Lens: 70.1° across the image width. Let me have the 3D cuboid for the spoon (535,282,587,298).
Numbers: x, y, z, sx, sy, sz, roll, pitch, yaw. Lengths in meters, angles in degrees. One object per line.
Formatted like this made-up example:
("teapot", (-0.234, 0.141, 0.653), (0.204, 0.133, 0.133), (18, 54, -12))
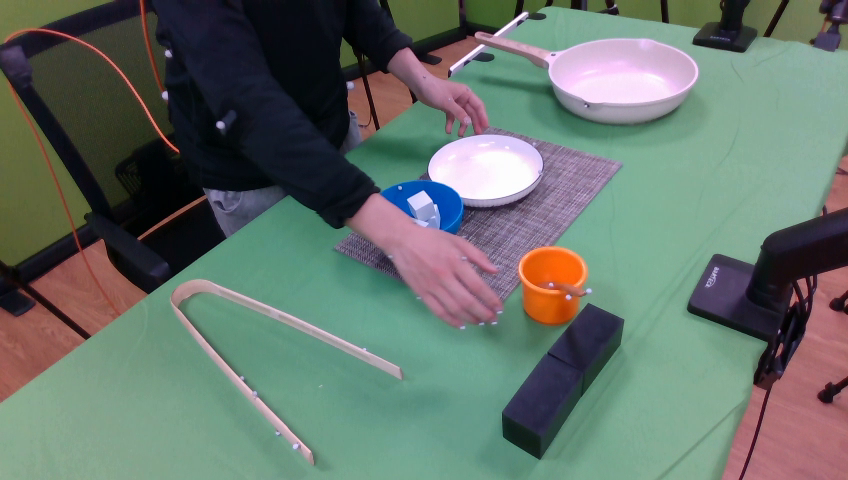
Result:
("spoon", (0.176, 0.063, 0.774), (0.041, 0.194, 0.021), (-3, 85, 0))

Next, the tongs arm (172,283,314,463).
("tongs arm", (-0.246, 0.161, 0.806), (0.381, 0.026, 0.051), (29, 51, 36))

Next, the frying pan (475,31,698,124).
("frying pan", (0.320, -0.371, 1.290), (0.485, 0.103, 0.307), (28, 50, 23))

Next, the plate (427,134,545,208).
("plate", (0.110, -0.119, 1.073), (0.207, 0.039, 0.206), (-4, 40, 4))

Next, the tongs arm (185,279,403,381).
("tongs arm", (-0.193, 0.120, 0.853), (0.385, 0.028, 0.028), (18, 49, 26))

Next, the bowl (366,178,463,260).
("bowl", (-0.011, -0.021, 0.944), (0.151, 0.077, 0.150), (-4, 40, 4))
